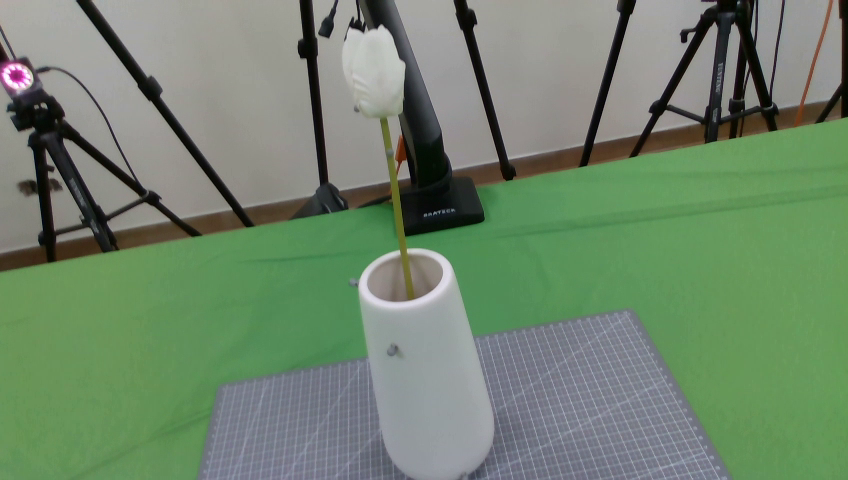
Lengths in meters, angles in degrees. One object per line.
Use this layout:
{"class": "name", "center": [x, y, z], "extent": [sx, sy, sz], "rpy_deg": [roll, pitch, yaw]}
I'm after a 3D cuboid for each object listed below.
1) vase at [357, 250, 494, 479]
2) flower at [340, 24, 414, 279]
{"class": "vase", "center": [0.001, 0.106, 0.489], "extent": [0.098, 0.202, 0.097], "rpy_deg": [-8, 34, 5]}
{"class": "flower", "center": [-0.011, 0.030, 0.455], "extent": [0.038, 0.363, 0.043], "rpy_deg": [-19, 18, -31]}
